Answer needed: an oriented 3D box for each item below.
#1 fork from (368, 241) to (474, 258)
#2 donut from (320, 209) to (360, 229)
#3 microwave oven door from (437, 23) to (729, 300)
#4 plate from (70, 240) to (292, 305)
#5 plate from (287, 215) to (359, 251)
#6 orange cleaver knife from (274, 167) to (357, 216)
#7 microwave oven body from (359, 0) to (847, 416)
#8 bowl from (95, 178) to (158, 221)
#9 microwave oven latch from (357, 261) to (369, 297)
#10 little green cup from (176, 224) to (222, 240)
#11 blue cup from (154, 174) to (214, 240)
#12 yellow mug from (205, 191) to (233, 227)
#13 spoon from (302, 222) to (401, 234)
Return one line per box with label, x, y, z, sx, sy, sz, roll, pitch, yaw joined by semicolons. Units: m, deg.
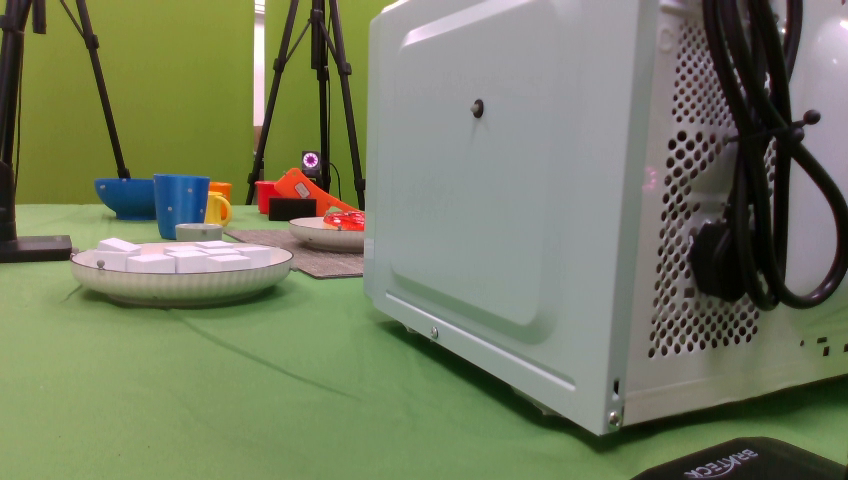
fork;0.004;0.012;0.885;0.208;0.018;0.028;-6;-5;-45
donut;-0.115;-0.023;0.961;0.099;0.048;0.099;5;8;0
microwave oven door;0.181;-0.072;0.621;0.358;0.243;0.039;-2;9;-29
plate;-0.242;0.031;0.618;0.208;0.039;0.207;2;8;0
plate;-0.112;-0.012;0.960;0.209;0.038;0.209;3;8;0
orange cleaver knife;-0.238;-0.091;1.381;0.212;0.077;0.012;31;0;-19
microwave oven body;0.211;-0.047;0.474;0.444;0.260;0.324;-1;7;-28
bowl;-0.576;-0.081;1.217;0.151;0.077;0.151;3;8;0
microwave oven latch;-0.019;0.033;0.531;0.079;0.029;0.030;-1;7;-27
little green cup;-0.312;-0.001;0.842;0.061;0.038;0.061;2;8;0
blue cup;-0.390;-0.053;0.978;0.093;0.100;0.092;3;6;0
yellow mug;-0.415;-0.057;1.132;0.130;0.064;0.100;6;8;16
spoon;-0.127;-0.024;1.105;0.195;0.021;0.041;-2;-15;-31
